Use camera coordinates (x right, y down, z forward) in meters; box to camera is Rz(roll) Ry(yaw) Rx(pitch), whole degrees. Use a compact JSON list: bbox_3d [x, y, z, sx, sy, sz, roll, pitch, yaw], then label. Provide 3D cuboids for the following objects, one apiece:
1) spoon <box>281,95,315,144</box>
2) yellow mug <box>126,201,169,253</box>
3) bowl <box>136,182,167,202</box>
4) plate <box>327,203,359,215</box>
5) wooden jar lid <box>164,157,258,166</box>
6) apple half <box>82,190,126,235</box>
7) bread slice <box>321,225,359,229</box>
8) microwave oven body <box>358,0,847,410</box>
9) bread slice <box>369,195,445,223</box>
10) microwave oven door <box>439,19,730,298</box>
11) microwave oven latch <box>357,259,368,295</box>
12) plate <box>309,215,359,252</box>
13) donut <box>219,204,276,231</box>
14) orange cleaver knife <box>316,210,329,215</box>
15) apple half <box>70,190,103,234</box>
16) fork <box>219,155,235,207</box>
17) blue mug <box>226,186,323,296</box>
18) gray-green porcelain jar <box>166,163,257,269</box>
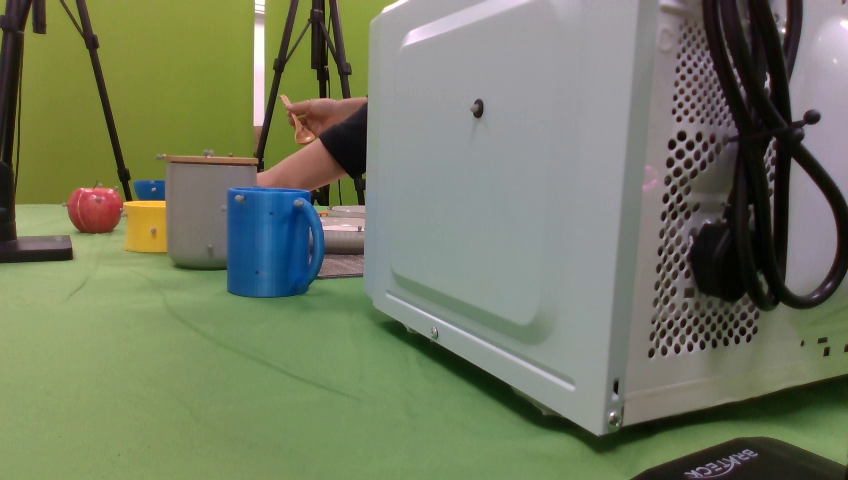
[{"bbox_3d":[-0.283,-0.270,1.335,0.042,0.021,0.193,-21,54,-13],"label":"spoon"},{"bbox_3d":[-0.361,-0.019,0.865,0.130,0.064,0.100,6,8,27],"label":"yellow mug"},{"bbox_3d":[-0.497,-0.076,1.221,0.151,0.077,0.151,2,8,0],"label":"bowl"},{"bbox_3d":[-0.102,-0.053,1.299,0.209,0.038,0.209,2,8,0],"label":"plate"},{"bbox_3d":[-0.261,-0.093,0.746,0.108,0.020,0.108,0,9,0],"label":"wooden jar lid"},{"bbox_3d":[-0.516,-0.046,0.994,0.032,0.081,0.081,0,6,26],"label":"apple half"},{"bbox_3d":[-0.125,-0.009,0.938,0.131,0.019,0.105,6,9,32],"label":"bread slice"},{"bbox_3d":[0.210,-0.051,0.471,0.444,0.260,0.324,-1,7,-28],"label":"microwave oven body"},{"bbox_3d":[-0.040,-0.057,1.142,0.107,0.018,0.133,-9,-8,-40],"label":"bread slice"},{"bbox_3d":[0.181,-0.076,0.618,0.358,0.243,0.039,-2,8,-28],"label":"microwave oven door"},{"bbox_3d":[-0.019,0.031,0.529,0.079,0.029,0.030,-1,7,-26],"label":"microwave oven latch"},{"bbox_3d":[-0.130,-0.011,0.945,0.208,0.039,0.207,2,8,0],"label":"plate"},{"bbox_3d":[-0.316,-0.039,1.083,0.099,0.048,0.099,2,7,0],"label":"donut"},{"bbox_3d":[-0.259,-0.064,1.423,0.212,0.012,0.077,-4,3,-30],"label":"orange cleaver knife"},{"bbox_3d":[-0.552,-0.048,1.009,0.053,0.074,0.081,-1,9,26],"label":"apple half"},{"bbox_3d":[-0.459,-0.134,1.415,0.028,0.018,0.207,-1,-34,-25],"label":"fork"},{"bbox_3d":[-0.148,0.000,0.618,0.116,0.106,0.083,7,9,33],"label":"blue mug"},{"bbox_3d":[-0.263,-0.031,0.754,0.106,0.126,0.106,2,7,0],"label":"gray-green porcelain jar"}]
